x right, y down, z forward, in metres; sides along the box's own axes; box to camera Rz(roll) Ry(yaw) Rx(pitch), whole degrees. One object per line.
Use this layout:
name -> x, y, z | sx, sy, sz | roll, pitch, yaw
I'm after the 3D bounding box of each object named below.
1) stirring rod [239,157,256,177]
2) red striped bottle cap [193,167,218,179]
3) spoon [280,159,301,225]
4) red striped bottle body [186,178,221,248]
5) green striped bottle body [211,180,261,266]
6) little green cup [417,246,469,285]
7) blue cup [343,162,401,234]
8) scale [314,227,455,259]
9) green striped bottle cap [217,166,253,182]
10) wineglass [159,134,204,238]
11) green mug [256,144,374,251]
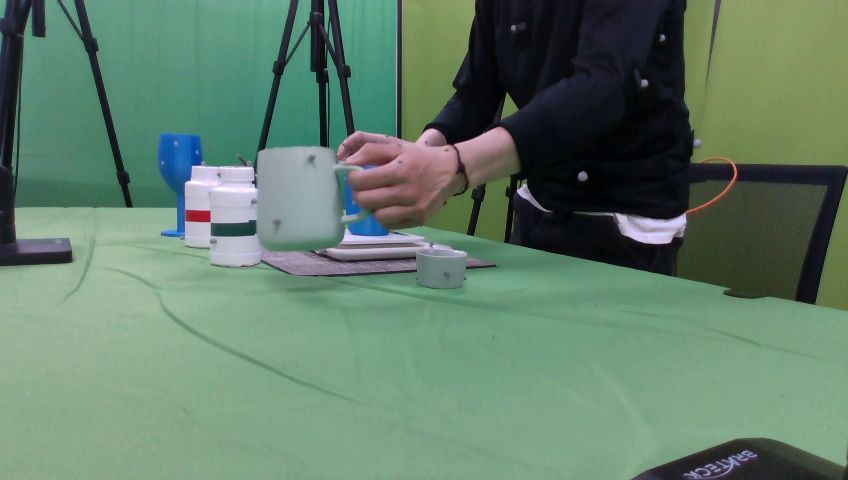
stirring rod -> -0.309, -0.098, 1.209 | 0.006, 0.177, 0.014 | -38, 29, -3
red striped bottle cap -> -0.329, -0.103, 0.921 | 0.044, 0.017, 0.044 | -1, 9, 1
spoon -> -0.273, -0.102, 1.252 | 0.042, 0.193, 0.021 | 7, -38, -17
red striped bottle body -> -0.331, -0.050, 0.927 | 0.063, 0.119, 0.063 | 2, 6, 0
green striped bottle body -> -0.243, -0.029, 0.784 | 0.063, 0.119, 0.063 | 2, 7, 0
little green cup -> 0.021, 0.029, 0.701 | 0.061, 0.038, 0.061 | 2, 5, 0
blue cup -> -0.078, -0.061, 0.884 | 0.093, 0.100, 0.092 | 4, 6, 0
scale -> -0.067, 0.001, 0.906 | 0.202, 0.031, 0.148 | -2, 8, -31
green striped bottle cap -> -0.242, -0.085, 0.776 | 0.044, 0.020, 0.044 | 1, 8, 0
wineglass -> -0.415, -0.093, 1.039 | 0.074, 0.172, 0.073 | 2, 8, 0
green mug -> -0.116, -0.045, 0.639 | 0.125, 0.105, 0.092 | -4, 3, 2
